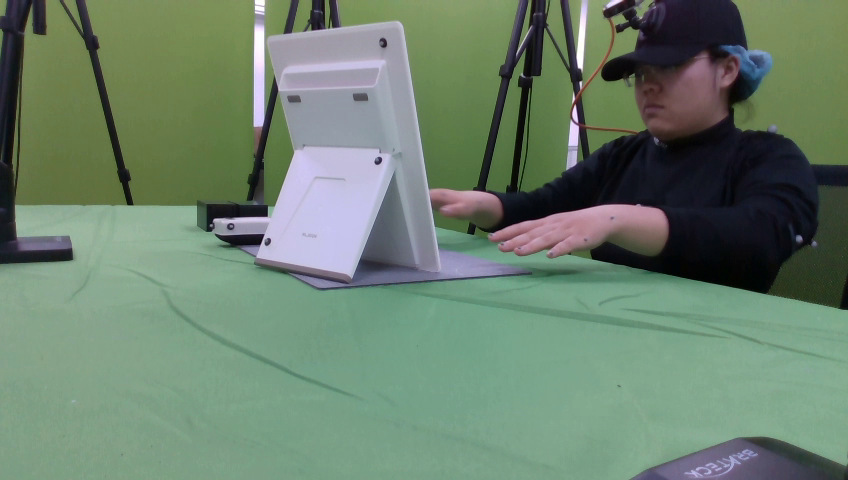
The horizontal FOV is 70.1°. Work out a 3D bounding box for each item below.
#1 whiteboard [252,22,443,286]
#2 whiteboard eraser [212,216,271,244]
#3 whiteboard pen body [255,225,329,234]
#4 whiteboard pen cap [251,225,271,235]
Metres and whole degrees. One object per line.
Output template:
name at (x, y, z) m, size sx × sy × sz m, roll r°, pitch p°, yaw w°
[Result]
whiteboard at (-0.125, -0.081, 0.715) m, size 0.216 × 0.305 × 0.144 m, roll 8°, pitch 29°, yaw 36°
whiteboard eraser at (-0.266, -0.016, 0.942) m, size 0.113 × 0.042 × 0.055 m, roll -2°, pitch 10°, yaw -35°
whiteboard pen body at (-0.239, -0.019, 1.105) m, size 0.141 × 0.017 × 0.017 m, roll -2°, pitch 9°, yaw -34°
whiteboard pen cap at (-0.288, -0.019, 1.071) m, size 0.033 × 0.018 × 0.018 m, roll -3°, pitch 10°, yaw -34°
